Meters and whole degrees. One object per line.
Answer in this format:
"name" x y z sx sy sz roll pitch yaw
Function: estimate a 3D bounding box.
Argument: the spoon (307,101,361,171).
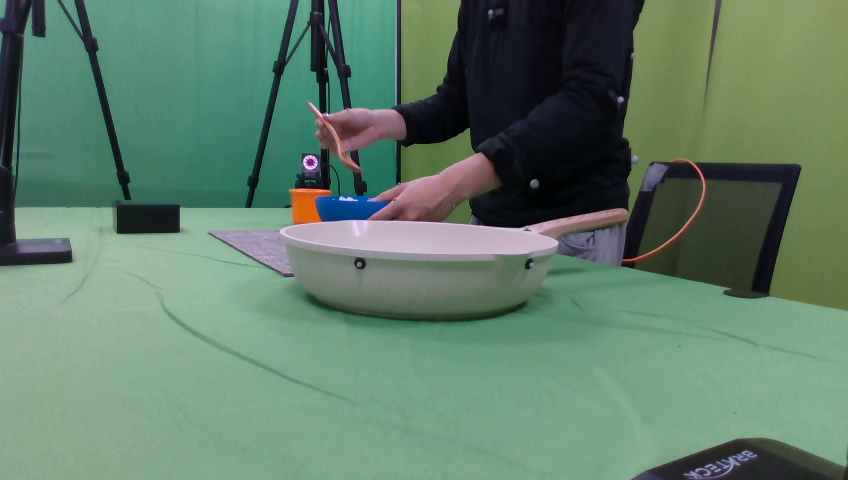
"spoon" -0.166 -0.190 1.097 0.042 0.021 0.193 17 36 -57

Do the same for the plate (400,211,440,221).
"plate" -0.073 -0.035 1.196 0.208 0.039 0.207 4 6 0

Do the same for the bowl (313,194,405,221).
"bowl" -0.106 -0.033 0.993 0.151 0.077 0.151 1 7 0

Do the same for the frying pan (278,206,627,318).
"frying pan" 0.079 0.002 0.705 0.490 0.102 0.305 -12 15 -33
